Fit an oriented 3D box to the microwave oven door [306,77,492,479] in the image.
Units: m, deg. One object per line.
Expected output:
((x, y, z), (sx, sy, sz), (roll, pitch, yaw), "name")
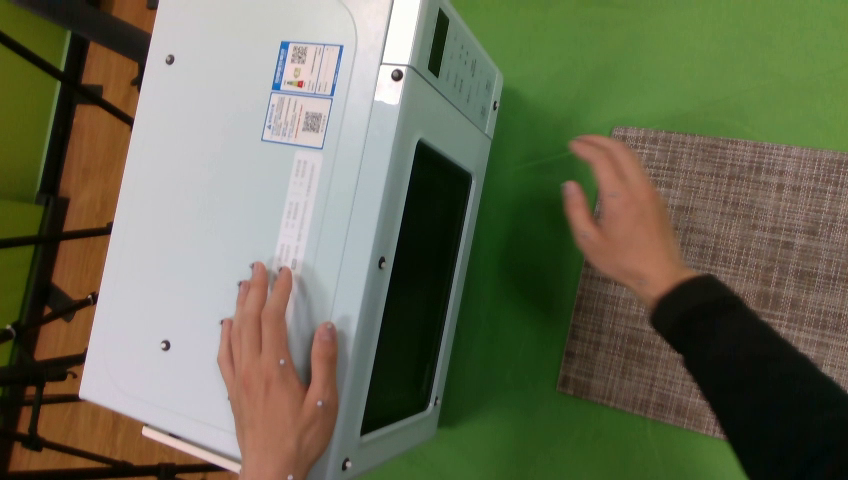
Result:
((-0.013, 0.048, 0.608), (0.039, 0.245, 0.355), (10, 88, 24), "microwave oven door")

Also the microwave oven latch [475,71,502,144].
((0.071, -0.155, 0.705), (0.030, 0.030, 0.079), (11, 89, 23), "microwave oven latch")

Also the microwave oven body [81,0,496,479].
((-0.134, -0.015, 0.671), (0.324, 0.262, 0.441), (10, 89, 23), "microwave oven body")
